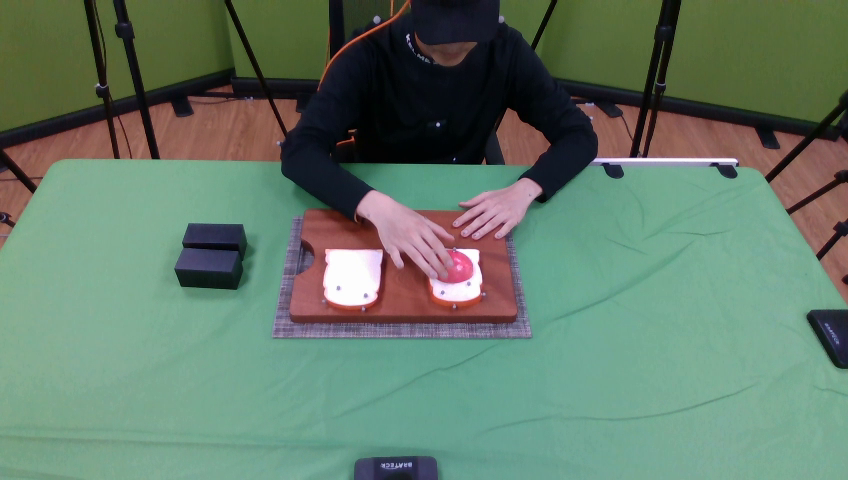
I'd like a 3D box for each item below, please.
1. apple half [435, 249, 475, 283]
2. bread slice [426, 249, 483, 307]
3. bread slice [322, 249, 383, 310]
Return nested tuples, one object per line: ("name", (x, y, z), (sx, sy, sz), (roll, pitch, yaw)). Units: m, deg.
("apple half", (0.055, 0.039, 1.092), (0.081, 0.033, 0.081), (1, 47, 0))
("bread slice", (0.058, 0.066, 1.100), (0.105, 0.019, 0.130), (-1, 46, -3))
("bread slice", (-0.126, 0.068, 1.083), (0.107, 0.018, 0.133), (-1, 47, -5))
